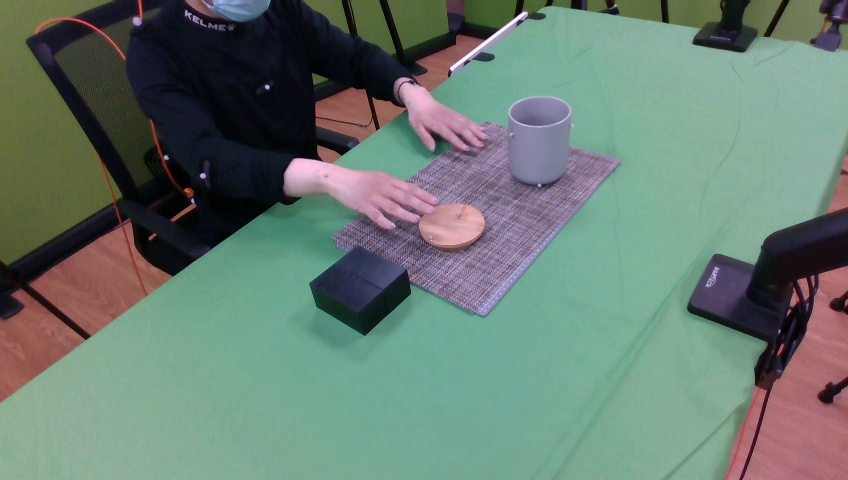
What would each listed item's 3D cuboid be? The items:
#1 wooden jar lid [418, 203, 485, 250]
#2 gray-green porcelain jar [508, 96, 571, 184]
[{"bbox_3d":[0.046,-0.021,0.983,0.108,0.021,0.108,-5,41,4],"label":"wooden jar lid"},{"bbox_3d":[0.199,-0.169,1.051,0.106,0.127,0.105,-4,41,4],"label":"gray-green porcelain jar"}]
